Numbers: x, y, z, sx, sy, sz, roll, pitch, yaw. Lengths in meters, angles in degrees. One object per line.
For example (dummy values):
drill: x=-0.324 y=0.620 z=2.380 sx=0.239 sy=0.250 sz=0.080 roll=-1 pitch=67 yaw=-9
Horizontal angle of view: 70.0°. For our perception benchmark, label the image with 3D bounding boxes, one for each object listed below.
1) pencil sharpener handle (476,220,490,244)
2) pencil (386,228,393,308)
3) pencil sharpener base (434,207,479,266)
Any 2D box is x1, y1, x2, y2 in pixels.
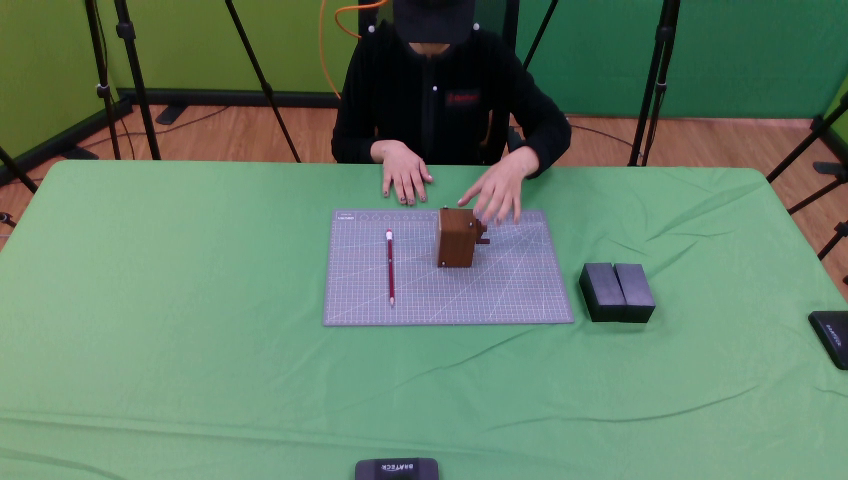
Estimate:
pencil sharpener handle: x=0.113 y=-0.014 z=1.141 sx=0.031 sy=0.068 sz=0.036 roll=1 pitch=56 yaw=-4
pencil: x=-0.065 y=0.050 z=1.152 sx=0.012 sy=0.012 sz=0.193 roll=-1 pitch=48 yaw=-4
pencil sharpener base: x=0.061 y=-0.004 z=1.144 sx=0.077 sy=0.107 sz=0.061 roll=1 pitch=46 yaw=-4
